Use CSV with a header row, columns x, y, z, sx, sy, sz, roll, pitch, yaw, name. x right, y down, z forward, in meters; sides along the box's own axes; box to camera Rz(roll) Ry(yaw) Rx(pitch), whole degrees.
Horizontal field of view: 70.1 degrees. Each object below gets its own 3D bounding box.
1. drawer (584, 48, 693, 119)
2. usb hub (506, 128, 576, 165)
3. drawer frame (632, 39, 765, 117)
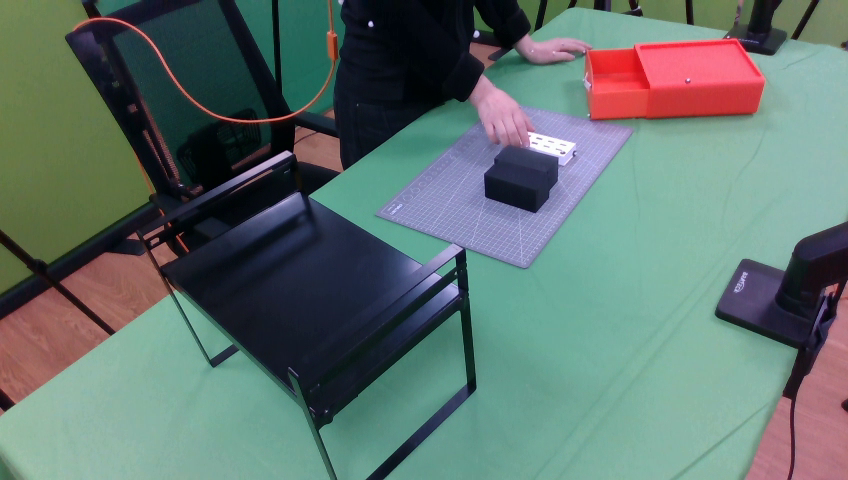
x,y,z,sx,sy,sz,roll,pitch,yaw,name
0.442,-0.329,1.249,0.211,0.073,0.194,1,41,8,drawer
0.220,-0.177,1.142,0.124,0.025,0.049,21,49,30,usb hub
0.543,-0.332,1.234,0.213,0.083,0.201,-1,41,6,drawer frame
